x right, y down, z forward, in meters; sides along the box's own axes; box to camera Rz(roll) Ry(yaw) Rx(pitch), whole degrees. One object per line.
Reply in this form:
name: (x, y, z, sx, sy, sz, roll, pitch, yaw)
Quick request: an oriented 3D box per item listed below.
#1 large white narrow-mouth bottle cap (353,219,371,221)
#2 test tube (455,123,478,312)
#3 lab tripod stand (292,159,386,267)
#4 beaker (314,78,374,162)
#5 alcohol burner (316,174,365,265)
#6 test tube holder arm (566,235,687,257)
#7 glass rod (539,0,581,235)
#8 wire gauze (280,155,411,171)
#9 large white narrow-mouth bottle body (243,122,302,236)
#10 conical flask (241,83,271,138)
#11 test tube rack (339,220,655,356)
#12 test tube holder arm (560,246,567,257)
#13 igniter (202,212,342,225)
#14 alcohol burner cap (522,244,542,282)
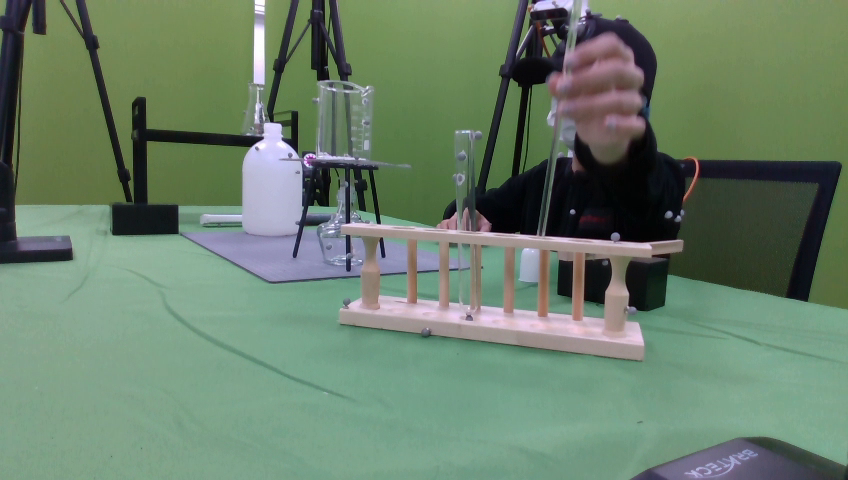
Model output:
large white narrow-mouth bottle cap: (-0.121, -0.029, 1.184, 0.038, 0.024, 0.037, 2, 8, 0)
test tube: (0.034, -0.016, 0.476, 0.017, 0.150, 0.017, -2, 10, 1)
lab tripod stand: (-0.105, -0.039, 0.797, 0.148, 0.131, 0.148, 2, 5, 0)
beaker: (-0.101, -0.150, 0.773, 0.074, 0.100, 0.083, -2, 8, -40)
alcohol burner: (-0.102, -0.028, 0.790, 0.078, 0.119, 0.078, 0, 6, 0)
test tube holder arm: (0.215, 0.006, 0.630, 0.179, 0.015, 0.013, -3, 9, -31)
glass rod: (0.103, -0.095, 0.456, 0.008, 0.199, 0.008, 6, 11, -1)
wire gauze: (-0.103, -0.103, 0.785, 0.121, 0.011, 0.126, 11, 8, 42)
large white narrow-mouth bottle body: (-0.265, -0.109, 1.061, 0.102, 0.194, 0.102, 2, 8, 0)
conical flask: (-0.384, -0.297, 1.393, 0.075, 0.122, 0.075, 2, 7, 0)
test tube rack: (0.056, 0.032, 0.495, 0.242, 0.085, 0.067, 4, 7, 15)
test tube holder arm: (0.173, 0.007, 0.612, 0.088, 0.015, 0.010, -3, 9, -30)
igniter: (-0.298, -0.043, 1.216, 0.278, 0.025, 0.057, -3, -2, -32)
alcohol burner cap: (0.137, 0.026, 0.741, 0.034, 0.048, 0.034, 1, 7, 0)
